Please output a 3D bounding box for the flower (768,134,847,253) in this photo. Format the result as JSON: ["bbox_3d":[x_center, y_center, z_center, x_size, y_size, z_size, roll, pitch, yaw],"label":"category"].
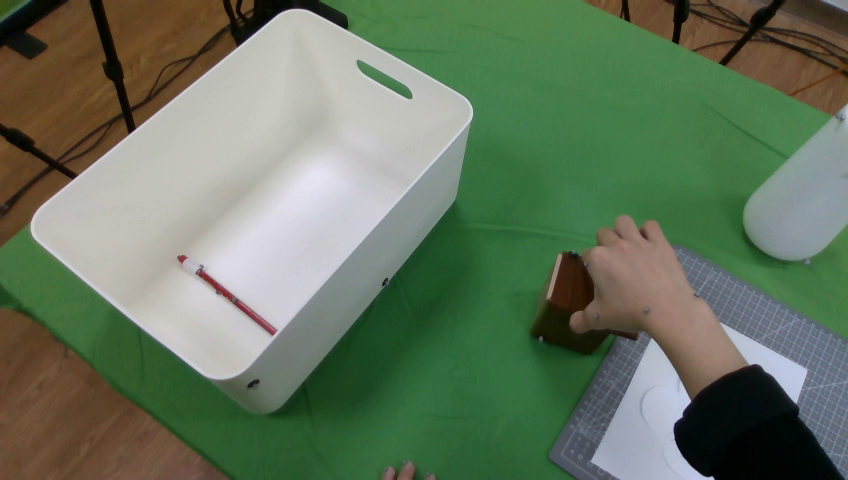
[{"bbox_3d":[0.424,-0.118,0.581,0.044,0.364,0.038,25,46,16],"label":"flower"}]

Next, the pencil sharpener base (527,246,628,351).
[{"bbox_3d":[0.156,0.064,0.620,0.076,0.108,0.061,18,64,8],"label":"pencil sharpener base"}]

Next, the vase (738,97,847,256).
[{"bbox_3d":[0.421,-0.065,0.647,0.098,0.201,0.097,0,59,0],"label":"vase"}]

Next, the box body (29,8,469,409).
[{"bbox_3d":[-0.152,-0.038,0.638,0.253,0.161,0.363,32,65,16],"label":"box body"}]

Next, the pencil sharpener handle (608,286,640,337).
[{"bbox_3d":[0.204,0.075,0.602,0.030,0.068,0.036,18,58,8],"label":"pencil sharpener handle"}]

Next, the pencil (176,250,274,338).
[{"bbox_3d":[-0.202,0.070,0.656,0.193,0.012,0.012,37,66,16],"label":"pencil"}]
